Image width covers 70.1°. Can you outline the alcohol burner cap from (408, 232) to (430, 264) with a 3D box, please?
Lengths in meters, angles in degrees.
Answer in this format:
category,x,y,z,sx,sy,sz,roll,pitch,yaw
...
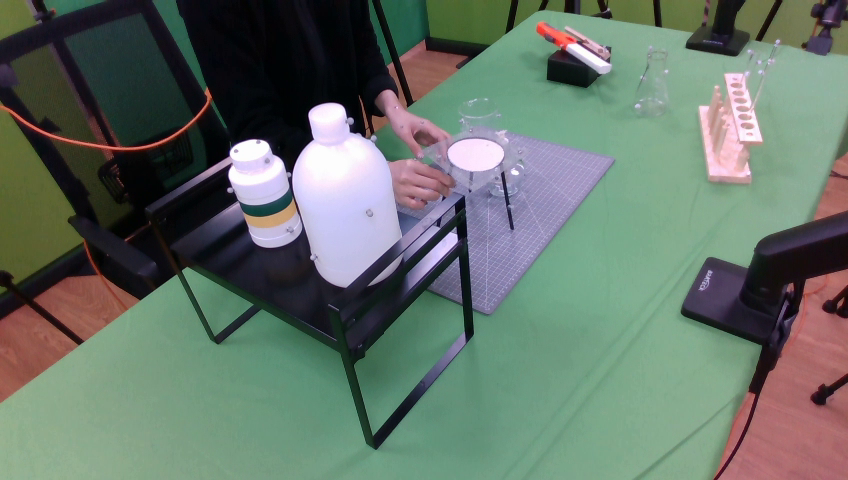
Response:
category,x,y,z,sx,sy,sz,roll,pitch,yaw
alcohol burner cap,-0.010,0.010,0.947,0.034,0.048,0.033,-4,41,4

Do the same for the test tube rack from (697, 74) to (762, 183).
category,x,y,z,sx,sy,sz,roll,pitch,yaw
test tube rack,0.547,-0.208,1.094,0.066,0.085,0.242,5,42,14

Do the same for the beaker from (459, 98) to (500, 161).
category,x,y,z,sx,sy,sz,roll,pitch,yaw
beaker,0.104,-0.208,1.142,0.074,0.101,0.083,-20,42,-15

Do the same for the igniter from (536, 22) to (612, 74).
category,x,y,z,sx,sy,sz,roll,pitch,yaw
igniter,0.330,-0.439,1.366,0.057,0.025,0.274,-11,41,-20

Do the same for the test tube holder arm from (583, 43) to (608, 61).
category,x,y,z,sx,sy,sz,roll,pitch,yaw
test tube holder arm,0.379,-0.420,1.341,0.010,0.015,0.087,-39,41,10

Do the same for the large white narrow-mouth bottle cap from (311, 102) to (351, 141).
category,x,y,z,sx,sy,sz,roll,pitch,yaw
large white narrow-mouth bottle cap,-0.089,-0.114,0.579,0.038,0.024,0.037,-4,40,3

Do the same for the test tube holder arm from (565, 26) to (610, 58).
category,x,y,z,sx,sy,sz,roll,pitch,yaw
test tube holder arm,0.369,-0.450,1.373,0.013,0.015,0.177,-39,41,10

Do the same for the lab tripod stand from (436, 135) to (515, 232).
category,x,y,z,sx,sy,sz,roll,pitch,yaw
lab tripod stand,0.080,-0.086,0.965,0.148,0.132,0.147,-1,45,1

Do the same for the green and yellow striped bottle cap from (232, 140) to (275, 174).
category,x,y,z,sx,sy,sz,roll,pitch,yaw
green and yellow striped bottle cap,-0.192,-0.094,0.680,0.045,0.020,0.045,-5,39,5

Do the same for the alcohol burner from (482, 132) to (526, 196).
category,x,y,z,sx,sy,sz,roll,pitch,yaw
alcohol burner,0.138,-0.136,1.042,0.078,0.119,0.077,-4,43,4

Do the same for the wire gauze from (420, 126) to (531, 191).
category,x,y,z,sx,sy,sz,roll,pitch,yaw
wire gauze,0.077,-0.130,0.913,0.122,0.011,0.124,-32,50,-27

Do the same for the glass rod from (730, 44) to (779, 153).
category,x,y,z,sx,sy,sz,roll,pitch,yaw
glass rod,0.555,-0.233,1.020,0.008,0.200,0.008,2,40,-1

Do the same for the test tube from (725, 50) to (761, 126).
category,x,y,z,sx,sy,sz,roll,pitch,yaw
test tube,0.570,-0.269,1.086,0.017,0.151,0.017,-1,45,1

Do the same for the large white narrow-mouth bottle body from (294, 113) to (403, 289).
category,x,y,z,sx,sy,sz,roll,pitch,yaw
large white narrow-mouth bottle body,-0.082,-0.047,0.634,0.102,0.195,0.101,-4,40,4

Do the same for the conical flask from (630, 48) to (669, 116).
category,x,y,z,sx,sy,sz,roll,pitch,yaw
conical flask,0.456,-0.317,1.205,0.075,0.122,0.075,-4,41,4

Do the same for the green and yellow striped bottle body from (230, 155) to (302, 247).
category,x,y,z,sx,sy,sz,roll,pitch,yaw
green and yellow striped bottle body,-0.188,-0.055,0.714,0.063,0.120,0.063,-4,41,4
